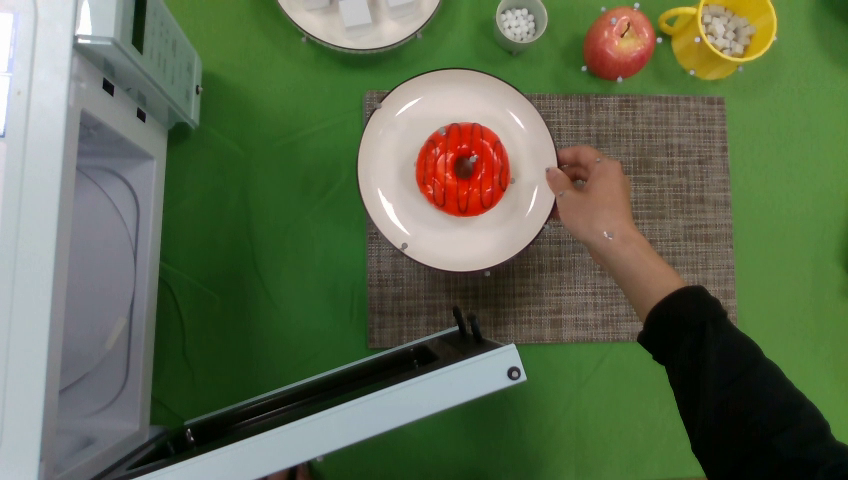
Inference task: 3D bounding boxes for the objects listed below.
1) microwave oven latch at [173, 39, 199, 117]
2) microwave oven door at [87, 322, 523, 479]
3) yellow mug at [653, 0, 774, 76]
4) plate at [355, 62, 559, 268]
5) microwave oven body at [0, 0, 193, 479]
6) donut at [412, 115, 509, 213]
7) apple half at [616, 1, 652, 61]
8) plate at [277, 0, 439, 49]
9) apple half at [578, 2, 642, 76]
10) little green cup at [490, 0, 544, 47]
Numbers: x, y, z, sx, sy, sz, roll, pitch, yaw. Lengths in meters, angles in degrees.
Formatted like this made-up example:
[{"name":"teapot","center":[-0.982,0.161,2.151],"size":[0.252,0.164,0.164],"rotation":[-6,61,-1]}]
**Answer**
[{"name":"microwave oven latch","center":[-0.262,-0.176,0.656],"size":[0.030,0.029,0.079],"rotation":[4,87,-6]},{"name":"microwave oven door","center":[-0.106,0.153,0.551],"size":[0.356,0.244,0.039],"rotation":[-18,87,-7]},{"name":"yellow mug","center":[0.343,-0.263,0.735],"size":[0.131,0.064,0.099],"rotation":[10,84,-5]},{"name":"plate","center":[0.033,-0.075,0.621],"size":[0.209,0.038,0.209],"rotation":[0,89,-7]},{"name":"microwave oven body","center":[-0.404,-0.012,0.533],"size":[0.327,0.260,0.441],"rotation":[2,87,-7]},{"name":"donut","center":[0.037,-0.076,0.610],"size":[0.099,0.048,0.099],"rotation":[0,91,-7]},{"name":"apple half","center":[0.246,-0.248,0.719],"size":[0.033,0.081,0.081],"rotation":[-28,89,-3]},{"name":"plate","center":[-0.077,-0.320,0.705],"size":[0.208,0.039,0.207],"rotation":[0,86,-6]},{"name":"apple half","center":[0.212,-0.230,0.715],"size":[0.053,0.074,0.081],"rotation":[-27,93,-3]},{"name":"little green cup","center":[0.108,-0.263,0.722],"size":[0.061,0.038,0.061],"rotation":[0,86,-6]}]
